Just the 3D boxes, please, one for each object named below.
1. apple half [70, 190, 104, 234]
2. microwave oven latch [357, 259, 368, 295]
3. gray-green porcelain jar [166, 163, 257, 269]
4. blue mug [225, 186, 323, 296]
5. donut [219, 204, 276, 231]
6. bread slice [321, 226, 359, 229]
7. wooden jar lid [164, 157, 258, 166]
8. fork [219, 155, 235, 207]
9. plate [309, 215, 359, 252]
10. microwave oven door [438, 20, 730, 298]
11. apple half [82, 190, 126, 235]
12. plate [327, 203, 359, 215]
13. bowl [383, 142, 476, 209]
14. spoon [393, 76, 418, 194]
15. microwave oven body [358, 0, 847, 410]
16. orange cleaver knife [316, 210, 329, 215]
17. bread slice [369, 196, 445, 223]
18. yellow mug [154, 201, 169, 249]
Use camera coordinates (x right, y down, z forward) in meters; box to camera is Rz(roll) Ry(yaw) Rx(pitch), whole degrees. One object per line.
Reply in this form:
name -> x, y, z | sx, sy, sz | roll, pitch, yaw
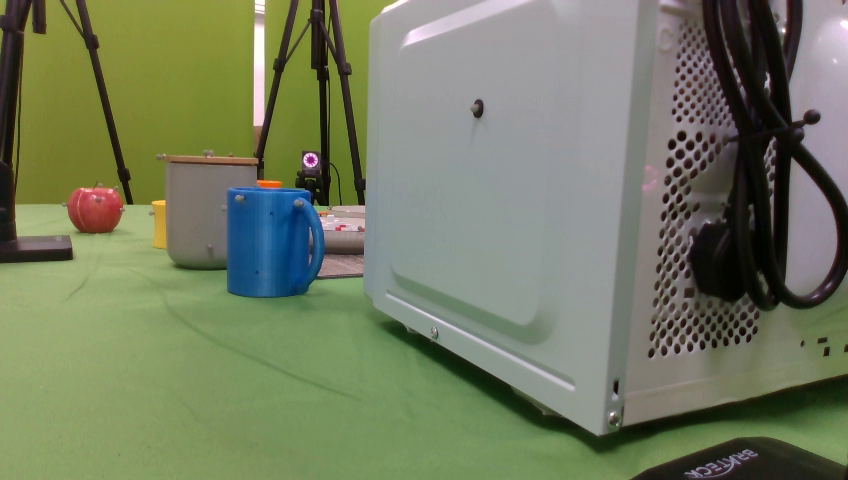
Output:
apple half -> -0.552, -0.047, 1.010 | 0.053, 0.074, 0.081 | -1, 9, 26
microwave oven latch -> -0.019, 0.031, 0.529 | 0.079, 0.029, 0.030 | -1, 7, -26
gray-green porcelain jar -> -0.263, -0.031, 0.754 | 0.106, 0.126, 0.106 | 2, 7, 0
blue mug -> -0.148, 0.000, 0.618 | 0.116, 0.106, 0.083 | 7, 9, 33
donut -> -0.316, -0.039, 1.083 | 0.099, 0.048, 0.099 | 2, 7, 0
bread slice -> -0.124, -0.008, 0.938 | 0.131, 0.019, 0.105 | 5, 8, 32
wooden jar lid -> -0.261, -0.093, 0.746 | 0.108, 0.020, 0.108 | 0, 9, 0
fork -> -0.459, -0.134, 1.415 | 0.028, 0.018, 0.207 | -1, -34, -25
plate -> -0.130, -0.011, 0.945 | 0.208, 0.039, 0.207 | 2, 8, 0
microwave oven door -> 0.181, -0.076, 0.618 | 0.358, 0.243, 0.039 | -2, 8, -28
apple half -> -0.516, -0.046, 0.994 | 0.032, 0.081, 0.081 | 0, 6, 26
plate -> -0.102, -0.053, 1.299 | 0.209, 0.038, 0.209 | 2, 8, 0
bowl -> 0.018, -0.096, 0.962 | 0.151, 0.077, 0.151 | -15, 0, 0
spoon -> -0.030, -0.169, 0.967 | 0.022, 0.193, 0.041 | -5, -5, -5
microwave oven body -> 0.210, -0.051, 0.471 | 0.444, 0.260, 0.324 | -1, 7, -28
orange cleaver knife -> -0.259, -0.064, 1.423 | 0.212, 0.012, 0.077 | -4, 3, -30
bread slice -> -0.040, -0.057, 1.142 | 0.107, 0.018, 0.133 | -8, -8, -39
yellow mug -> -0.337, -0.022, 0.899 | 0.130, 0.064, 0.100 | 7, 9, 34
